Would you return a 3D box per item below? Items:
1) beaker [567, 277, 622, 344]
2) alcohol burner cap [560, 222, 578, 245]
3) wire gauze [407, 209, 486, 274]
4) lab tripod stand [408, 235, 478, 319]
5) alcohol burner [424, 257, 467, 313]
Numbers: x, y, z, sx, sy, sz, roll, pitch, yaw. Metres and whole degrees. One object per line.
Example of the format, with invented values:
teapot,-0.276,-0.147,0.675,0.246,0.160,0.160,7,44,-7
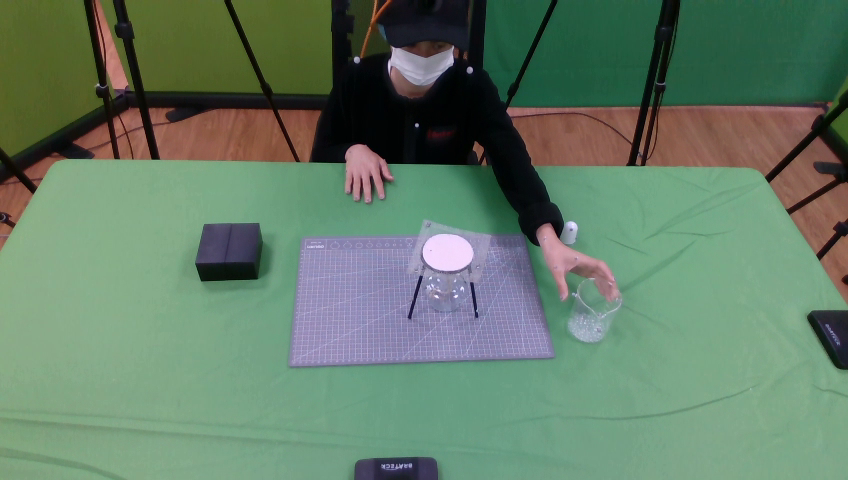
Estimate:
beaker,0.291,0.127,1.045,0.074,0.101,0.083,7,47,4
alcohol burner cap,0.295,-0.016,1.224,0.034,0.048,0.033,2,46,-2
wire gauze,0.036,0.003,1.001,0.125,0.011,0.120,-7,52,-1
lab tripod stand,0.032,0.065,1.057,0.148,0.132,0.147,1,45,-1
alcohol burner,0.038,0.072,1.064,0.078,0.120,0.077,1,47,-1
